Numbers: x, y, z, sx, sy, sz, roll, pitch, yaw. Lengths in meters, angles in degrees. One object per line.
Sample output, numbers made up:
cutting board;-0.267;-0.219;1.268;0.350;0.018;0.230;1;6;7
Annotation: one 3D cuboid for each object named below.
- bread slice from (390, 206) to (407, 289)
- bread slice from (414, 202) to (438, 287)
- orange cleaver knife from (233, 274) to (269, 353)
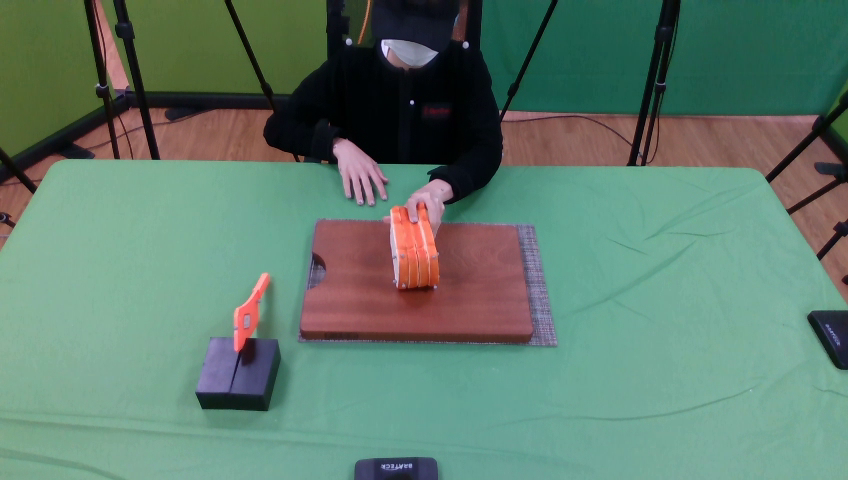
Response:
bread slice;-0.047;0.020;1.077;0.019;0.105;0.130;-4;53;-8
bread slice;0.003;0.017;1.087;0.018;0.107;0.133;-10;55;-7
orange cleaver knife;-0.290;0.118;1.020;0.012;0.077;0.210;2;17;-1
